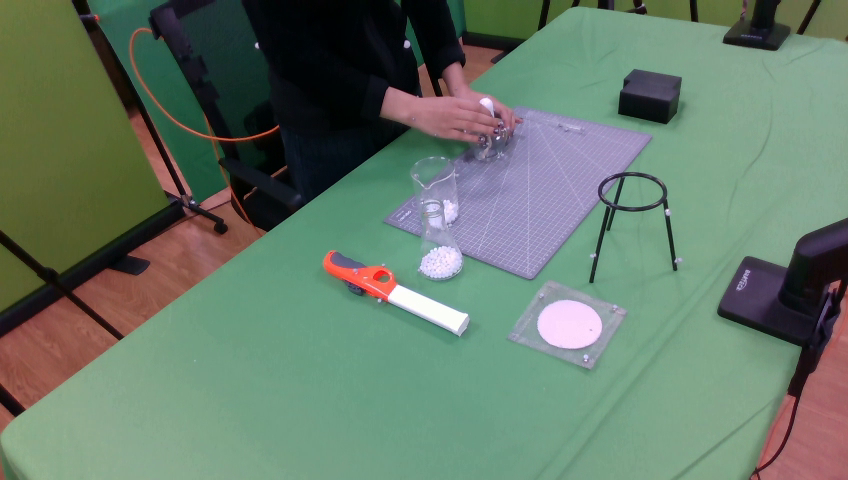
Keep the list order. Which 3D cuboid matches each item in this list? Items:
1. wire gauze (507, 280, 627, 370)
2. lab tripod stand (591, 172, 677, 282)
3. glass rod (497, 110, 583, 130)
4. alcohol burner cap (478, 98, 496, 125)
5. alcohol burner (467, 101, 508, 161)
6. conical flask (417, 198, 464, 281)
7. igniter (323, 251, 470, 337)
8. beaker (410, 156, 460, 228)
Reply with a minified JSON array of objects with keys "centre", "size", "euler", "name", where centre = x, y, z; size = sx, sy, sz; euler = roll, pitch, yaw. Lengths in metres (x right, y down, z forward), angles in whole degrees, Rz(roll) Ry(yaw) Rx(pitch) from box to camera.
[{"centre":[0.196,0.114,0.823],"size":[0.120,0.011,0.125],"euler":[20,50,31],"name":"wire gauze"},{"centre":[0.292,-0.022,0.867],"size":[0.148,0.132,0.147],"euler":[-7,39,6],"name":"lab tripod stand"},{"centre":[0.233,-0.245,1.235],"size":[0.198,0.008,0.008],"euler":[21,49,34],"name":"glass rod"},{"centre":[0.114,-0.237,1.110],"size":[0.034,0.048,0.033],"euler":[-6,43,6],"name":"alcohol burner cap"},{"centre":[0.119,-0.210,1.134],"size":[0.078,0.119,0.077],"euler":[-4,39,4],"name":"alcohol burner"},{"centre":[0.019,-0.004,0.907],"size":[0.075,0.122,0.075],"euler":[-5,40,5],"name":"conical flask"},{"centre":[-0.052,0.075,0.901],"size":[0.274,0.025,0.057],"euler":[22,60,32],"name":"igniter"},{"centre":[0.020,-0.076,1.006],"size":[0.074,0.101,0.084],"euler":[3,42,15],"name":"beaker"}]
